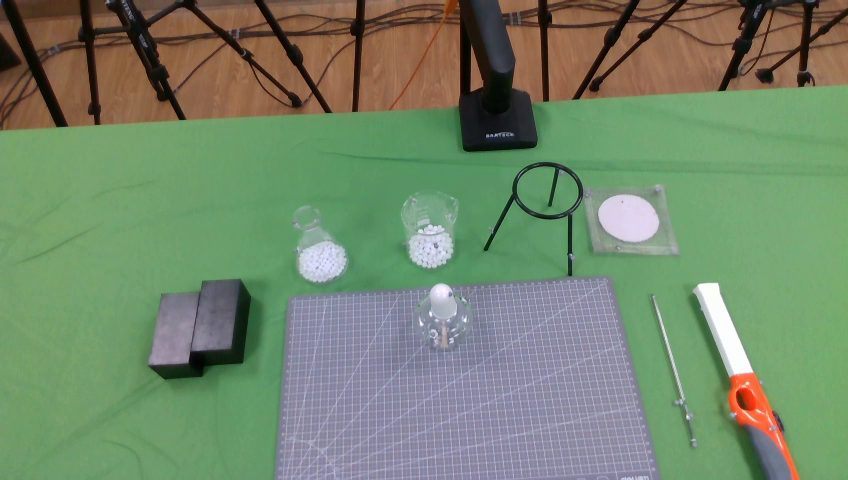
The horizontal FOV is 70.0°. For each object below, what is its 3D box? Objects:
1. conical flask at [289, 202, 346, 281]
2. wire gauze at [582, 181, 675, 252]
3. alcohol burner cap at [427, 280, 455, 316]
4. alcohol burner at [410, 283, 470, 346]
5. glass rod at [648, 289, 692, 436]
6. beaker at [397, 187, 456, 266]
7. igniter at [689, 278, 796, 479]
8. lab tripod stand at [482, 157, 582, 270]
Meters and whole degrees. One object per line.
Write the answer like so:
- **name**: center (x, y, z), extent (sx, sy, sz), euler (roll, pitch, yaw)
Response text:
- **conical flask**: center (-0.151, -0.003, 0.818), extent (0.075, 0.123, 0.074), euler (-1, 59, 2)
- **wire gauze**: center (0.298, -0.037, 0.893), extent (0.125, 0.011, 0.120), euler (1, 60, 0)
- **alcohol burner cap**: center (0.019, 0.067, 0.731), extent (0.034, 0.048, 0.033), euler (-4, 54, 6)
- **alcohol burner**: center (0.020, 0.087, 0.761), extent (0.078, 0.120, 0.077), euler (0, 57, 1)
- **glass rod**: center (0.315, 0.152, 0.780), extent (0.008, 0.008, 0.198), euler (-3, 59, -1)
- **beaker**: center (0.006, -0.017, 0.836), extent (0.084, 0.101, 0.073), euler (-27, 62, -14)
- **igniter**: center (0.393, 0.172, 0.754), extent (0.057, 0.025, 0.274), euler (-1, 59, -11)
- **lab tripod stand**: center (0.154, -0.036, 0.823), extent (0.148, 0.132, 0.147), euler (-1, 61, 2)
